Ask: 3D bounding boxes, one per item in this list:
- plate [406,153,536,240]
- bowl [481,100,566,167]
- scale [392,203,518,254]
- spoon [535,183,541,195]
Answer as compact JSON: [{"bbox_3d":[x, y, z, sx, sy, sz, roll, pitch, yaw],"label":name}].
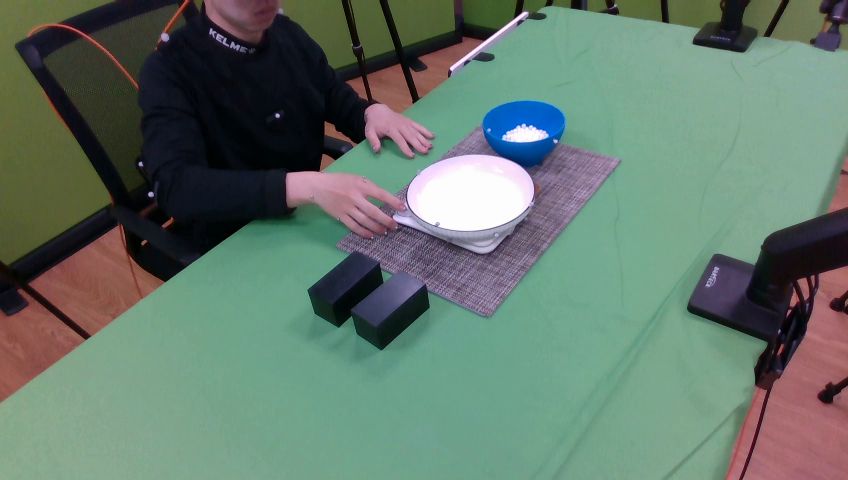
[{"bbox_3d":[0.075,-0.067,0.973,0.209,0.038,0.208,-4,41,4],"label":"plate"},{"bbox_3d":[0.183,-0.187,1.111,0.151,0.077,0.150,-4,41,4],"label":"bowl"},{"bbox_3d":[0.061,-0.050,1.006,0.199,0.032,0.149,22,48,30],"label":"scale"},{"bbox_3d":[0.120,-0.108,1.071,0.192,0.022,0.041,22,62,31],"label":"spoon"}]
